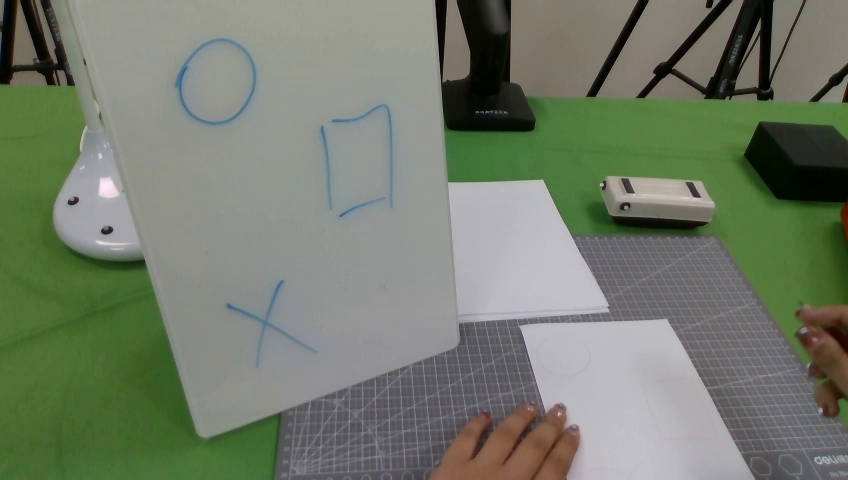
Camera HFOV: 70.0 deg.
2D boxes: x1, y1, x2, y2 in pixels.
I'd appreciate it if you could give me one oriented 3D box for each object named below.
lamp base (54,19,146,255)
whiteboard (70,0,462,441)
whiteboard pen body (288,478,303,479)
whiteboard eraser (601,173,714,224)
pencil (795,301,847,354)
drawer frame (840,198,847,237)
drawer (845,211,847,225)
[{"bbox_3d":[-0.291,-0.103,0.572,0.178,0.182,0.160,27,45,26],"label":"lamp base"},{"bbox_3d":[-0.106,-0.043,0.473,0.218,0.307,0.142,-15,26,-21],"label":"whiteboard"},{"bbox_3d":[-0.143,0.181,0.382,0.141,0.017,0.017,-13,44,-22],"label":"whiteboard pen body"},{"bbox_3d":[0.258,-0.046,0.677,0.113,0.042,0.055,4,42,-2],"label":"whiteboard eraser"},{"bbox_3d":[0.276,0.087,0.352,0.012,0.012,0.192,1,26,-5],"label":"pencil"},{"bbox_3d":[0.543,0.030,0.591,0.201,0.083,0.212,15,41,12],"label":"drawer frame"},{"bbox_3d":[0.543,0.033,0.590,0.194,0.074,0.210,15,41,13],"label":"drawer"}]
